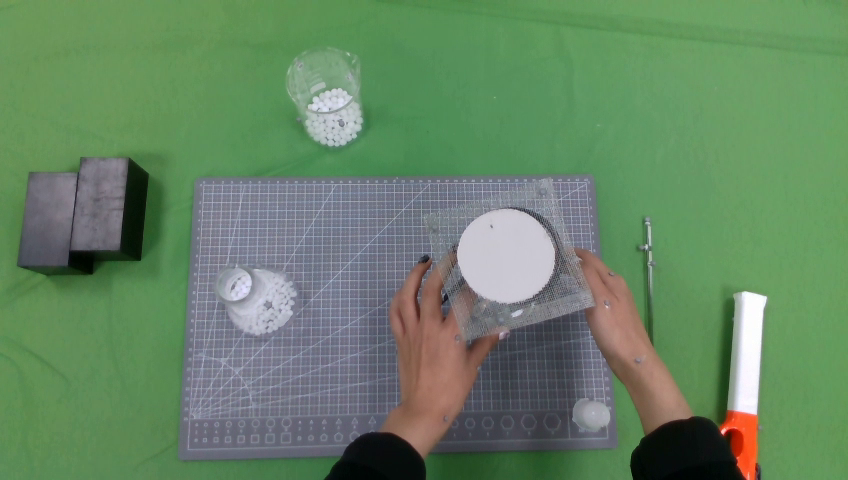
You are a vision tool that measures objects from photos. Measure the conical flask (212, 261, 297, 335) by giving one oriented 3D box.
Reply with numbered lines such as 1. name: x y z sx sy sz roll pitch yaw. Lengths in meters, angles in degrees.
1. conical flask: -0.170 0.051 0.591 0.075 0.122 0.075 1 77 -2

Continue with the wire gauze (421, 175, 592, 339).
1. wire gauze: 0.073 0.014 0.536 0.125 0.011 0.121 -16 80 -4

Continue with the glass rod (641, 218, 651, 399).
1. glass rod: 0.243 0.072 0.666 0.008 0.008 0.198 4 77 -2

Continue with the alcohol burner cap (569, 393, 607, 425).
1. alcohol burner cap: 0.170 0.174 0.620 0.034 0.048 0.033 1 78 -3

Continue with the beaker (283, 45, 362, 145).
1. beaker: -0.103 -0.152 0.654 0.084 0.100 0.074 -41 82 -11

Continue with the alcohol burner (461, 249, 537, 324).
1. alcohol burner: 0.078 0.044 0.608 0.078 0.119 0.077 1 77 -2

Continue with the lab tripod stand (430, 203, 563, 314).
1. lab tripod stand: 0.075 0.027 0.602 0.148 0.132 0.148 0 79 -2

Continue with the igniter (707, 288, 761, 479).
1. igniter: 0.326 0.187 0.635 0.057 0.025 0.275 14 77 -10
